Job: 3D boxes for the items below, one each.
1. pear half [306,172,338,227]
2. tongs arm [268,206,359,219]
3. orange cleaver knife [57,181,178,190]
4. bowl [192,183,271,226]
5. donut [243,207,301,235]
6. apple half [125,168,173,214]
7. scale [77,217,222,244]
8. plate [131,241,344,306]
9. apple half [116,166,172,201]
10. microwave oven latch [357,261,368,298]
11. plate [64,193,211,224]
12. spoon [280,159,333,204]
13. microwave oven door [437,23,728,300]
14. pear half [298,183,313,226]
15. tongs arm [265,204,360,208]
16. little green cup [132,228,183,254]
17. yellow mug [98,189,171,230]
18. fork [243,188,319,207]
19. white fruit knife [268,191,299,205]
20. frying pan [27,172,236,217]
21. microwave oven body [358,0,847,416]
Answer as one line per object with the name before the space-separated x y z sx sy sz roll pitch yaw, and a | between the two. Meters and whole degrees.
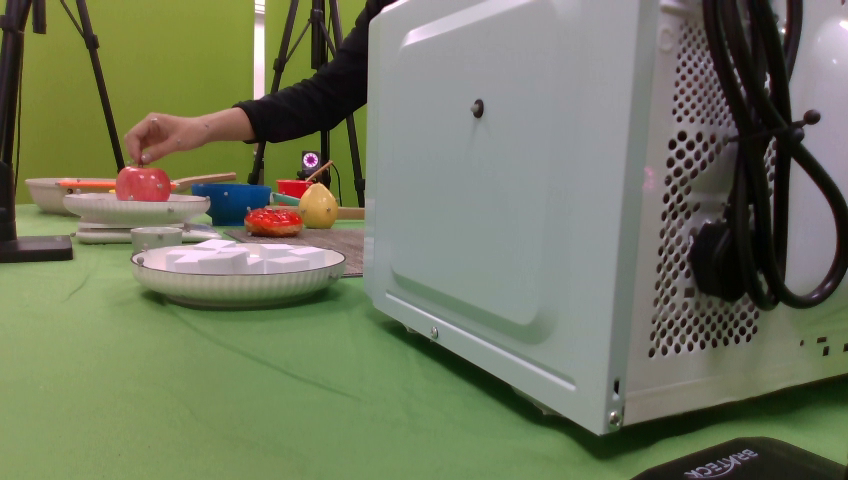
pear half | -0.200 -0.079 1.203 0.056 0.110 0.076 3 12 1
tongs arm | -0.173 -0.061 1.362 0.387 0.026 0.050 -1 4 -31
orange cleaver knife | -0.600 -0.109 1.189 0.212 0.012 0.077 -1 11 -26
bowl | -0.382 -0.070 1.202 0.151 0.077 0.151 3 7 0
donut | -0.262 -0.032 1.043 0.099 0.048 0.099 4 10 0
apple half | -0.439 -0.080 0.979 0.081 0.081 0.033 3 7 5
scale | -0.434 -0.018 0.963 0.202 0.031 0.148 -1 8 -27
plate | -0.187 0.033 0.625 0.208 0.039 0.207 2 8 0
apple half | -0.442 -0.077 0.940 0.081 0.074 0.053 8 7 5
microwave oven latch | -0.019 0.033 0.530 0.079 0.029 0.030 -1 7 -26
plate | -0.446 -0.051 0.951 0.209 0.038 0.209 2 7 0
spoon | -0.317 -0.159 1.640 0.194 0.022 0.041 -49 32 -20
microwave oven door | 0.180 -0.073 0.621 0.358 0.243 0.039 -2 9 -29
pear half | -0.235 -0.071 1.207 0.031 0.088 0.070 3 10 0
tongs arm | -0.210 -0.069 1.439 0.389 0.027 0.028 1 0 -16
little green cup | -0.342 0.006 0.779 0.061 0.038 0.061 2 8 0
yellow mug | -0.519 -0.055 1.080 0.099 0.064 0.131 7 9 26
fork | -0.356 -0.105 1.526 0.208 0.018 0.028 16 -5 -41
white fruit knife | -0.364 -0.105 1.464 0.208 0.027 0.016 15 0 -34
frying pan | -0.624 -0.118 1.387 0.305 0.102 0.490 8 17 32
microwave oven body | 0.211 -0.047 0.474 0.444 0.260 0.324 -1 7 -28
